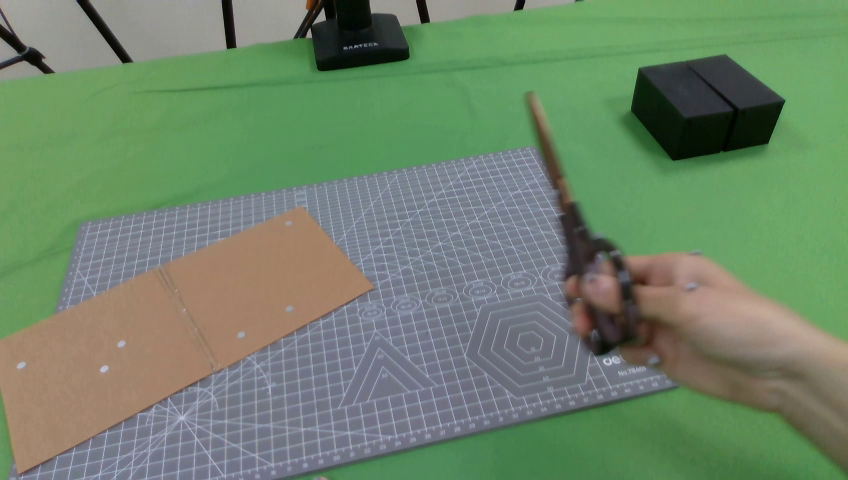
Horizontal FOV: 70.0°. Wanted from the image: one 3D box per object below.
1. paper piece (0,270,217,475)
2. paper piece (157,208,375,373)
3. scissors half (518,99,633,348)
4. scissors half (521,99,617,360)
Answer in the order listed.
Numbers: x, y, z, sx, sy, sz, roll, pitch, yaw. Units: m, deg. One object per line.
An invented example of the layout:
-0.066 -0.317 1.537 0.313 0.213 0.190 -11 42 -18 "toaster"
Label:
-0.243 0.088 0.454 0.136 0.004 0.134 -27 47 -22 "paper piece"
-0.133 0.033 0.507 0.138 0.009 0.134 -26 51 -23 "paper piece"
0.084 -0.019 0.358 0.013 0.040 0.173 -14 60 -6 "scissors half"
0.084 -0.011 0.377 0.013 0.040 0.174 -11 76 -10 "scissors half"
